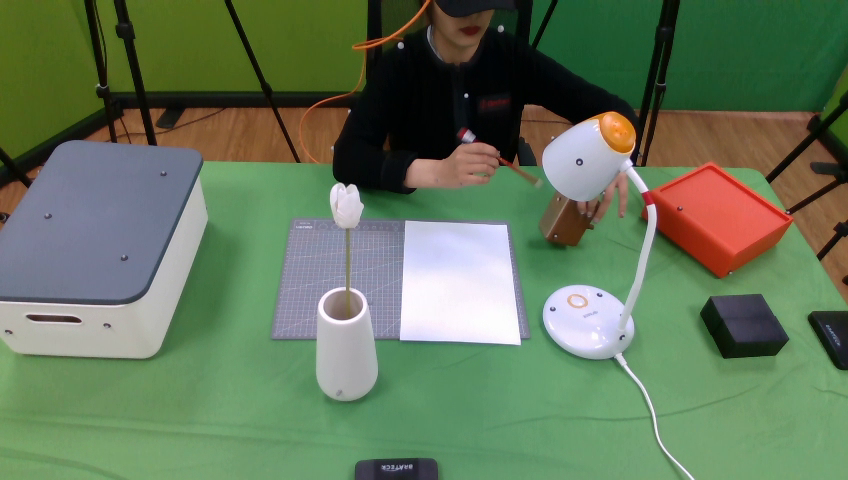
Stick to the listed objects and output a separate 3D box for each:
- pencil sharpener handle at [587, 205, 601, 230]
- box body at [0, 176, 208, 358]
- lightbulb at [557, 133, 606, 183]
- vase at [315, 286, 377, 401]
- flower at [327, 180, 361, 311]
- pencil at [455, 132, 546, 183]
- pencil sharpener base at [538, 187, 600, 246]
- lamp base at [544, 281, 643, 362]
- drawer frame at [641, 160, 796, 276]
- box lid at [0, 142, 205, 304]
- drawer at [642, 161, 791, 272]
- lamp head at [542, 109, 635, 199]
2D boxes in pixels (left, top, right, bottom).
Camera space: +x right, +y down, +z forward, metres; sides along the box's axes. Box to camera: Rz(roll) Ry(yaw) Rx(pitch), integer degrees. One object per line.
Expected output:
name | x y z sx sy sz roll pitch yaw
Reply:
pencil sharpener handle | 0.334 -0.050 1.190 0.031 0.068 0.036 12 33 -19
box body | -0.546 0.017 1.045 0.254 0.161 0.361 2 46 -2
lightbulb | 0.242 -0.127 0.916 0.059 0.108 0.059 5 67 -12
vase | -0.119 0.159 0.911 0.098 0.201 0.097 2 47 -2
flower | -0.110 0.086 0.867 0.044 0.363 0.038 22 33 35
pencil | 0.144 -0.150 1.123 0.194 0.012 0.012 27 46 -11
pencil sharpener base | 0.283 -0.050 1.179 0.077 0.107 0.061 12 31 -19
lamp base | 0.303 0.095 1.014 0.161 0.181 0.178 -24 54 -24
drawer frame | 0.599 -0.051 1.244 0.202 0.083 0.212 -24 53 -25
box lid | -0.533 -0.044 0.995 0.263 0.015 0.369 3 45 -3
drawer | 0.596 -0.052 1.244 0.194 0.073 0.210 -23 51 -25
lamp head | 0.253 -0.131 0.893 0.113 0.123 0.112 10 66 -24
